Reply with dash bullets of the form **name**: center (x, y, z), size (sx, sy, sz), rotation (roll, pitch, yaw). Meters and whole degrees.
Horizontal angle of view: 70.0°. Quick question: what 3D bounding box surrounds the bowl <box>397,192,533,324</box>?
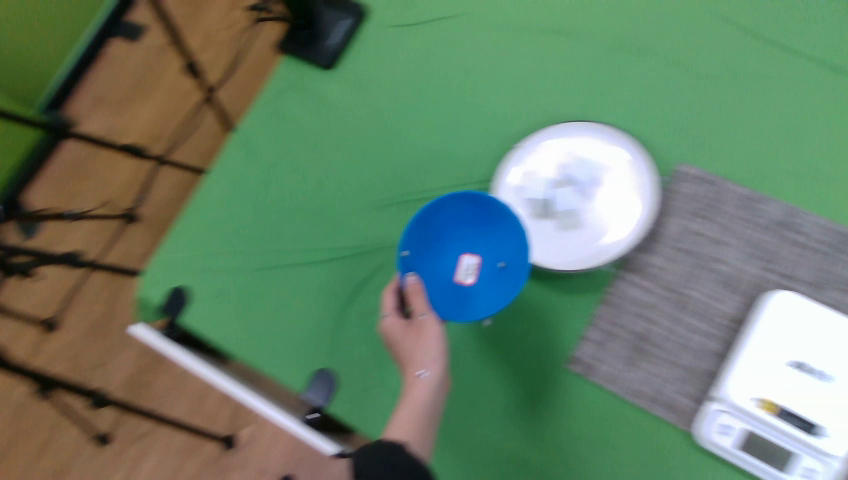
- **bowl**: center (0.051, 0.028, 0.700), size (0.151, 0.077, 0.150), rotation (-3, 75, 10)

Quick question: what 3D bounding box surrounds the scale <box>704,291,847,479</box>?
- **scale**: center (0.418, 0.169, 0.666), size (0.147, 0.032, 0.200), rotation (27, 82, 20)

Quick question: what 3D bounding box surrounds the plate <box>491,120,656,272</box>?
- **plate**: center (0.192, -0.056, 0.792), size (0.207, 0.039, 0.206), rotation (-4, 73, 13)
